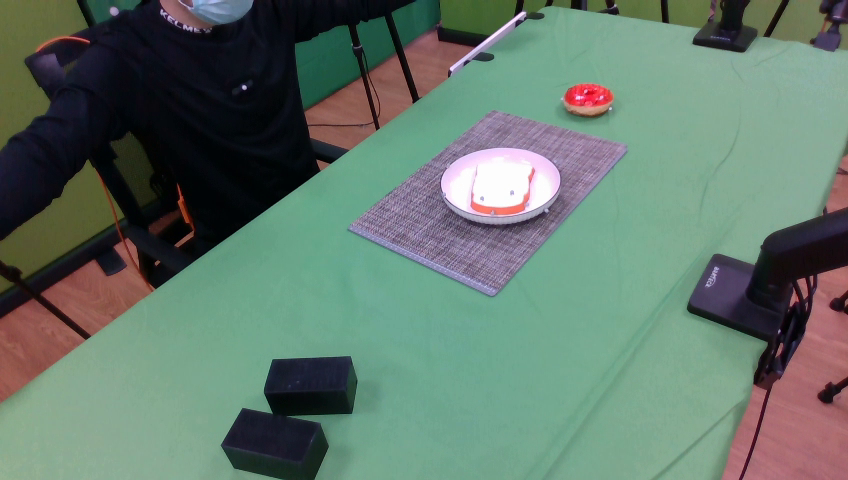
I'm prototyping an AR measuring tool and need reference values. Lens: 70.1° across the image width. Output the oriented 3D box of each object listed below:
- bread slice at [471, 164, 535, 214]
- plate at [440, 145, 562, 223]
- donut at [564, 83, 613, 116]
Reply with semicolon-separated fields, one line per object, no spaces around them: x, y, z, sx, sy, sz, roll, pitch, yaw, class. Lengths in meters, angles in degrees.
0.134;-0.090;1.038;0.104;0.019;0.131;3;41;13;bread slice
0.131;-0.093;1.040;0.207;0.039;0.206;-4;41;4;plate
0.336;-0.288;1.239;0.099;0.048;0.098;-3;39;3;donut
